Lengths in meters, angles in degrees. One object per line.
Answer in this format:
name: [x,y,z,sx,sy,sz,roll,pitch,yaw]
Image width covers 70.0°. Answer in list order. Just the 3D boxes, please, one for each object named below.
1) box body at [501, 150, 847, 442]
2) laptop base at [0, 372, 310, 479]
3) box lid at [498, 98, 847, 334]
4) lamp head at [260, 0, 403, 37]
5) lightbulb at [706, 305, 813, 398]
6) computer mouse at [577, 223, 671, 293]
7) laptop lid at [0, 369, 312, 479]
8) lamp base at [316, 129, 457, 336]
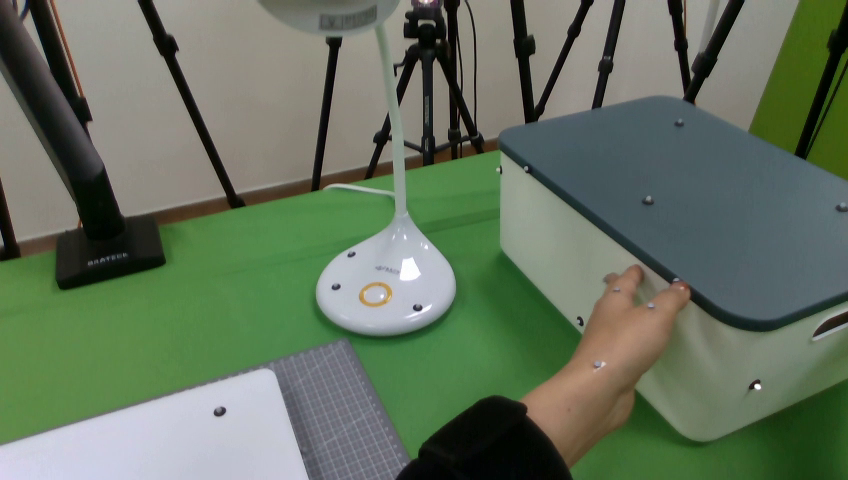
box body: [0.267,0.006,0.639,0.255,0.162,0.360,-14,37,-20]
laptop base: [-0.256,0.231,0.438,0.355,0.023,0.232,-14,40,-20]
box lid: [0.266,-0.056,0.597,0.264,0.015,0.367,-15,37,-20]
lamp head: [-0.065,-0.228,0.444,0.112,0.113,0.122,1,60,2]
lightbulb: [0.324,0.109,0.582,0.059,0.060,0.107,-29,64,-35]
computer mouse: [0.238,0.016,0.725,0.063,0.041,0.116,-12,40,-22]
laptop lid: [-0.255,0.222,0.429,0.358,0.013,0.239,-13,39,-18]
lamp base: [-0.042,-0.018,0.659,0.160,0.181,0.178,5,32,8]
